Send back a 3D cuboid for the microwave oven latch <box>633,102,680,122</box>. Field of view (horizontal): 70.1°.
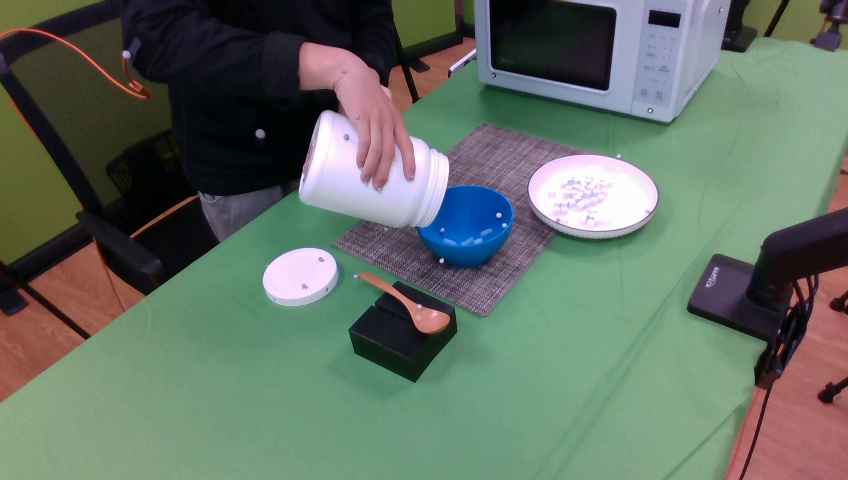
[{"bbox_3d":[0.443,-0.249,1.157,0.078,0.029,0.030,21,49,30],"label":"microwave oven latch"}]

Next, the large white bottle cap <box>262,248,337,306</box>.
[{"bbox_3d":[-0.193,0.056,0.934,0.115,0.018,0.114,-4,41,4],"label":"large white bottle cap"}]

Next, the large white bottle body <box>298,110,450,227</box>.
[{"bbox_3d":[-0.069,-0.091,0.837,0.186,0.130,0.130,14,37,-17],"label":"large white bottle body"}]

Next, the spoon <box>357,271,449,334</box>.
[{"bbox_3d":[-0.035,0.078,0.812,0.042,0.022,0.192,-34,42,-24],"label":"spoon"}]

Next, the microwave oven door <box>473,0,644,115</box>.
[{"bbox_3d":[0.257,-0.396,1.199,0.353,0.245,0.039,21,48,29],"label":"microwave oven door"}]

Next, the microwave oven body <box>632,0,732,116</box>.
[{"bbox_3d":[0.377,-0.463,1.267,0.438,0.261,0.327,21,48,30],"label":"microwave oven body"}]

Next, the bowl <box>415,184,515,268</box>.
[{"bbox_3d":[0.063,-0.011,0.922,0.151,0.077,0.150,-4,40,4],"label":"bowl"}]

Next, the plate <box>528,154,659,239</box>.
[{"bbox_3d":[0.274,-0.069,0.993,0.209,0.038,0.208,-2,43,2],"label":"plate"}]
